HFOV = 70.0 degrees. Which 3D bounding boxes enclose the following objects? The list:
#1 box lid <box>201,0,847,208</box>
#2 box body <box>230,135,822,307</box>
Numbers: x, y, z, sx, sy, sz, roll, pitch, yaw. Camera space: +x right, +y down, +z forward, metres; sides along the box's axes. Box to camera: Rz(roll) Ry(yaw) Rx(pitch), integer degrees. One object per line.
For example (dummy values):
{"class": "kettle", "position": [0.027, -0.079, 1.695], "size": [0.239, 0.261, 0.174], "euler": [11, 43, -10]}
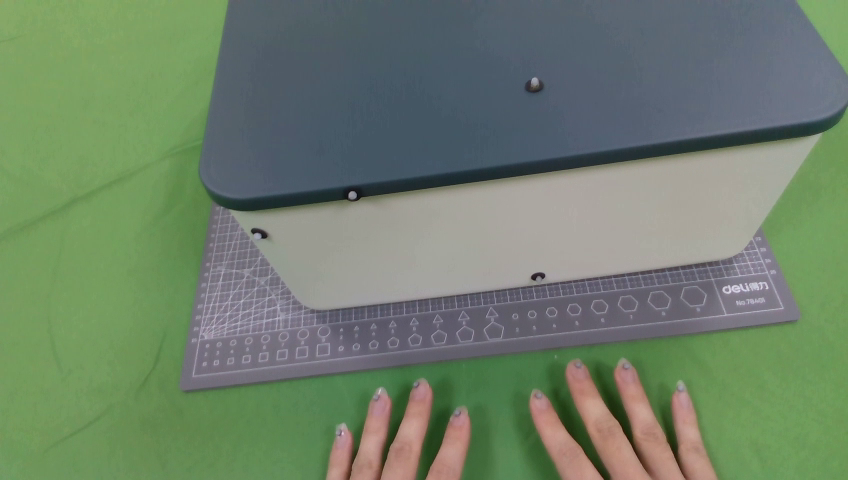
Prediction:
{"class": "box lid", "position": [0.044, -0.145, 0.400], "size": [0.371, 0.015, 0.260], "euler": [-7, 56, 3]}
{"class": "box body", "position": [0.056, -0.102, 0.461], "size": [0.364, 0.162, 0.251], "euler": [-7, 55, 3]}
